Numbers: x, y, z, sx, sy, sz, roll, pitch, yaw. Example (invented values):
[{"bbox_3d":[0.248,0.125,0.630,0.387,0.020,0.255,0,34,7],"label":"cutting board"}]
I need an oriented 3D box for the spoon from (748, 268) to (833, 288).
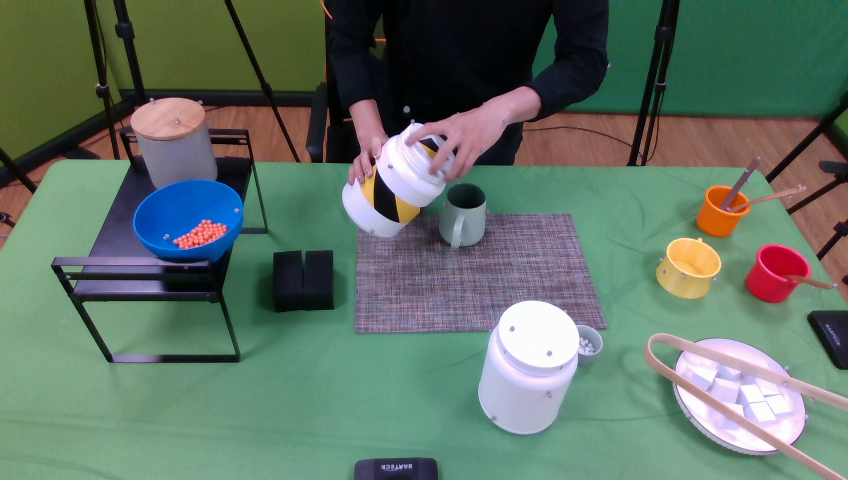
[{"bbox_3d":[0.660,0.068,1.097,0.041,0.193,0.021,-4,91,-6],"label":"spoon"}]

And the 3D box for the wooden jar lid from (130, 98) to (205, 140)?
[{"bbox_3d":[-0.393,-0.183,0.934,0.108,0.021,0.107,3,43,-2],"label":"wooden jar lid"}]

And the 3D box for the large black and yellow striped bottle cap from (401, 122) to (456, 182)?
[{"bbox_3d":[0.009,-0.151,1.032,0.115,0.019,0.114,31,38,-28],"label":"large black and yellow striped bottle cap"}]

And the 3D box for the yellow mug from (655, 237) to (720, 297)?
[{"bbox_3d":[0.509,0.041,1.167,0.099,0.064,0.130,24,48,18],"label":"yellow mug"}]

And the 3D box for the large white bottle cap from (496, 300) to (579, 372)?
[{"bbox_3d":[0.160,0.133,0.852,0.115,0.018,0.114,3,46,-3],"label":"large white bottle cap"}]

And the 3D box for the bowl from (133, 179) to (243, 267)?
[{"bbox_3d":[-0.339,-0.013,0.895,0.151,0.077,0.150,2,46,-2],"label":"bowl"}]

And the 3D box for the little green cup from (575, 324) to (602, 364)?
[{"bbox_3d":[0.269,0.180,1.036,0.061,0.039,0.061,2,45,-2],"label":"little green cup"}]

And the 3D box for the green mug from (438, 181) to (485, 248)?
[{"bbox_3d":[0.071,-0.039,1.177,0.092,0.105,0.124,12,47,7],"label":"green mug"}]

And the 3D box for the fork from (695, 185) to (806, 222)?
[{"bbox_3d":[0.658,-0.074,1.230,0.207,0.019,0.028,-23,36,37],"label":"fork"}]

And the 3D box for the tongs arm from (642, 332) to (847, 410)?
[{"bbox_3d":[0.546,0.227,0.968,0.384,0.026,0.050,22,52,13],"label":"tongs arm"}]

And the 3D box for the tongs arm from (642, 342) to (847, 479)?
[{"bbox_3d":[0.504,0.279,0.918,0.386,0.028,0.028,33,59,22],"label":"tongs arm"}]

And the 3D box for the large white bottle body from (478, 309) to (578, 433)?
[{"bbox_3d":[0.156,0.192,0.913,0.131,0.185,0.130,2,46,-2],"label":"large white bottle body"}]

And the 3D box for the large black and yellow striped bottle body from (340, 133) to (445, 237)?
[{"bbox_3d":[-0.046,-0.105,1.076,0.131,0.184,0.130,32,36,-27],"label":"large black and yellow striped bottle body"}]

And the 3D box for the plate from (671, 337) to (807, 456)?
[{"bbox_3d":[0.503,0.254,0.984,0.208,0.039,0.206,2,46,-2],"label":"plate"}]

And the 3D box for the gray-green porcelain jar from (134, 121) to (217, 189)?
[{"bbox_3d":[-0.397,-0.141,0.980,0.106,0.127,0.105,2,47,-2],"label":"gray-green porcelain jar"}]

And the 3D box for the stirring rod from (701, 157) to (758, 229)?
[{"bbox_3d":[0.634,-0.097,1.257,0.014,0.006,0.176,38,97,30],"label":"stirring rod"}]
